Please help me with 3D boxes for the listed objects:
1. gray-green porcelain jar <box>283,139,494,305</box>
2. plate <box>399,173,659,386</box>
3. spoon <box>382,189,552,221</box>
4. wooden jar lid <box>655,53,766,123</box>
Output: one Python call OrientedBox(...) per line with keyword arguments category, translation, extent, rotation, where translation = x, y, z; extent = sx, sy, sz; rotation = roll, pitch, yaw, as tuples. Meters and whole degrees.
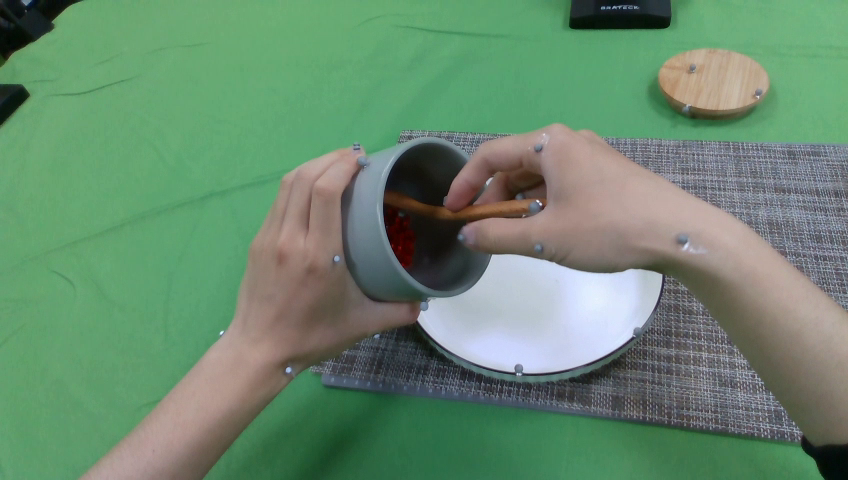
OrientedBox(category="gray-green porcelain jar", translation=(-0.031, -0.007, 0.434), extent=(0.126, 0.107, 0.105), rotation=(-9, 40, 47))
OrientedBox(category="plate", translation=(0.082, 0.030, 0.498), extent=(0.207, 0.039, 0.205), rotation=(-5, 49, 6))
OrientedBox(category="spoon", translation=(0.006, -0.021, 0.399), extent=(0.042, 0.021, 0.192), rotation=(4, 3, -42))
OrientedBox(category="wooden jar lid", translation=(0.300, -0.160, 0.640), extent=(0.108, 0.021, 0.107), rotation=(-5, 50, 6))
